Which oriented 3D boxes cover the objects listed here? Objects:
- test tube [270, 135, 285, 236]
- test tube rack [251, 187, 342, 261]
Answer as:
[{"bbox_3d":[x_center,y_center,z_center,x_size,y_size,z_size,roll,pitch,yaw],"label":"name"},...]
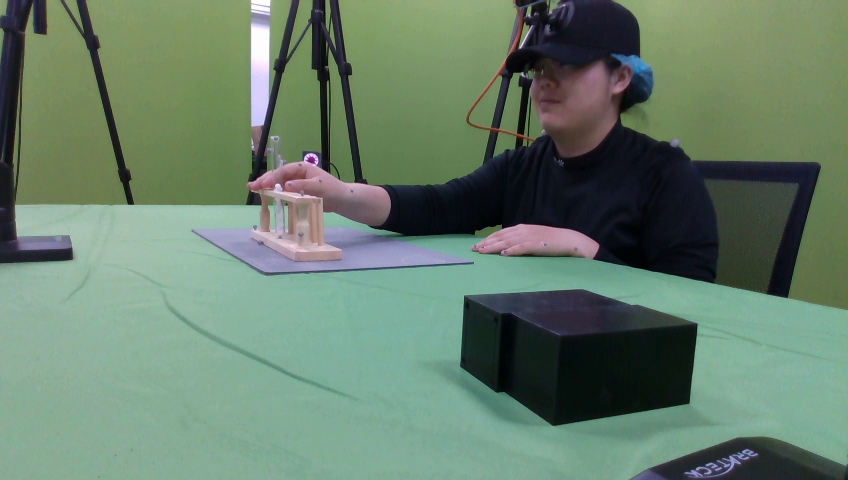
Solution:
[{"bbox_3d":[-0.219,-0.081,0.904,0.017,0.150,0.017,-2,4,0],"label":"test tube"},{"bbox_3d":[-0.196,-0.030,0.902,0.067,0.085,0.241,-2,8,-29],"label":"test tube rack"}]
